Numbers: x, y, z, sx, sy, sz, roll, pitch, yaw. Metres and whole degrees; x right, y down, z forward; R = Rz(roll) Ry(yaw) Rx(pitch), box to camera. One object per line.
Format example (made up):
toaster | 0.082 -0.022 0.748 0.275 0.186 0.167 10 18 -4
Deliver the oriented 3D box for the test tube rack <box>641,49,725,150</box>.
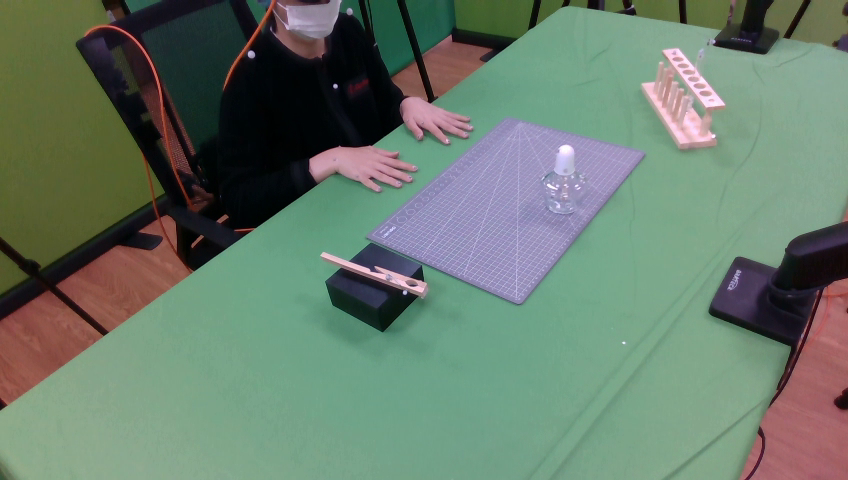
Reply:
test tube rack | 0.495 -0.279 1.175 0.067 0.085 0.241 -5 41 3

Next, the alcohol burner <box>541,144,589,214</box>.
alcohol burner | 0.229 -0.102 0.983 0.078 0.119 0.077 -6 41 5

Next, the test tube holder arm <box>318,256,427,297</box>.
test tube holder arm | -0.076 0.050 0.855 0.177 0.015 0.013 13 49 24

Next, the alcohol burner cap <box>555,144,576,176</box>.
alcohol burner cap | 0.225 -0.129 0.958 0.034 0.048 0.033 -4 43 4

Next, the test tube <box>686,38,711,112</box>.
test tube | 0.508 -0.305 1.128 0.017 0.151 0.017 -2 46 3

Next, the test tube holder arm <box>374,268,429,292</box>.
test tube holder arm | -0.034 0.056 0.840 0.087 0.015 0.010 14 49 25
